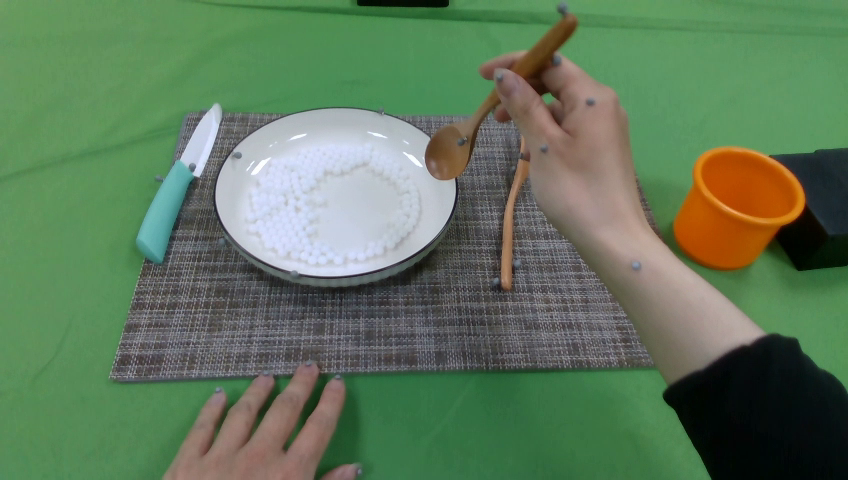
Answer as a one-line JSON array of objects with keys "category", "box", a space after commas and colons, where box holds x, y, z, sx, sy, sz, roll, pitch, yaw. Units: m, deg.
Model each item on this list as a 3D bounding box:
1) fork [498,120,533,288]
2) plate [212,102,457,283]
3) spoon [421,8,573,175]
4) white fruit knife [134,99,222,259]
[{"category": "fork", "box": [0.083, -0.040, 0.557, 0.018, 0.028, 0.205, -9, 47, 30]}, {"category": "plate", "box": [-0.075, -0.043, 0.535, 0.209, 0.038, 0.207, 2, 51, -3]}, {"category": "spoon", "box": [0.042, -0.095, 0.420, 0.022, 0.194, 0.041, -23, 83, -26]}, {"category": "white fruit knife", "box": [-0.221, -0.067, 0.557, 0.027, 0.016, 0.205, 25, 45, -21]}]
